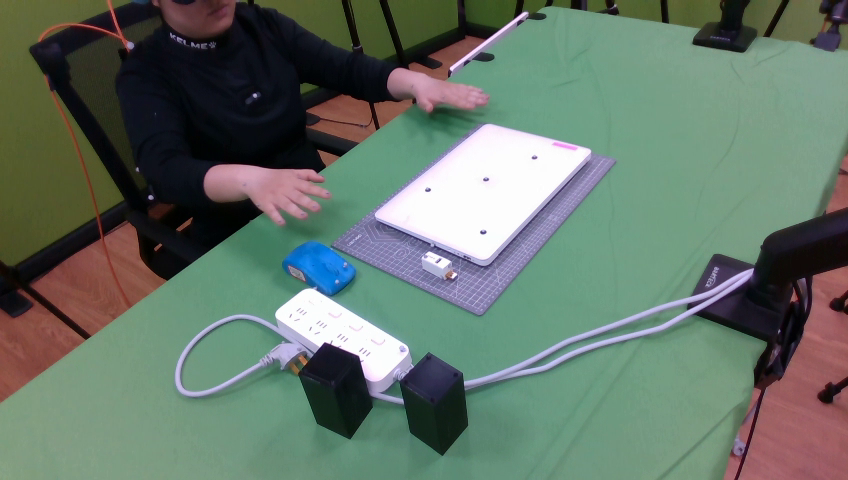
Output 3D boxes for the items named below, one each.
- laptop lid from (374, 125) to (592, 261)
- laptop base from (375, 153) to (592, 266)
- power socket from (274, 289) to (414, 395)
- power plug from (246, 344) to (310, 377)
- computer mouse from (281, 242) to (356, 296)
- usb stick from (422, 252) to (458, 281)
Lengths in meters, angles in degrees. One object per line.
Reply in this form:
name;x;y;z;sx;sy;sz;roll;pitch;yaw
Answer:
laptop lid;0.109;-0.101;1.057;0.239;0.013;0.358;23;48;34
laptop base;0.112;-0.091;1.063;0.233;0.023;0.355;21;47;34
power socket;-0.114;0.134;0.820;0.225;0.033;0.072;26;49;33
power plug;-0.187;0.168;0.798;0.072;0.035;0.052;-41;70;-5
computer mouse;-0.164;0.041;0.934;0.116;0.041;0.063;27;48;28
usb stick;0.025;0.042;0.908;0.058;0.027;0.021;27;49;31
